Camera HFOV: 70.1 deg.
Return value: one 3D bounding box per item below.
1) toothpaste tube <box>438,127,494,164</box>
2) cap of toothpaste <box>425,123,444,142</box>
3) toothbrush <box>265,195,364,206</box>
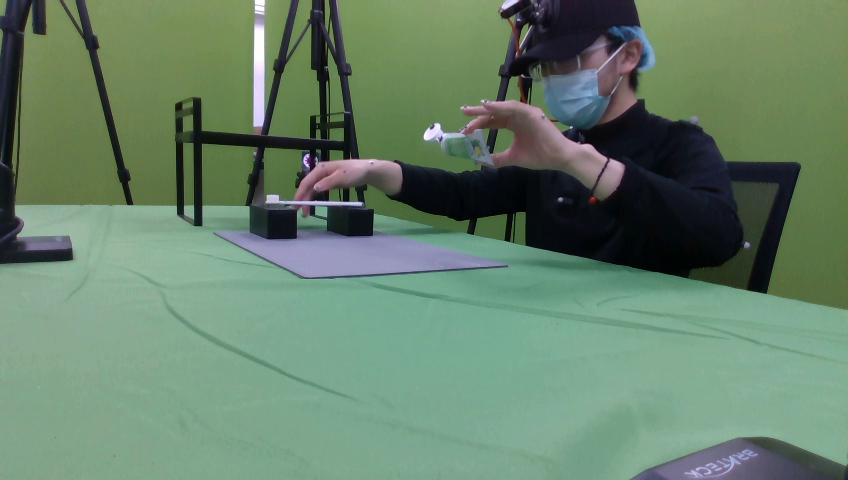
[{"bbox_3d":[0.061,-0.145,0.901,0.034,0.055,0.164,-32,20,-11],"label":"toothpaste tube"},{"bbox_3d":[0.017,-0.172,0.975,0.037,0.037,0.011,11,-21,49],"label":"cap of toothpaste"},{"bbox_3d":[-0.194,-0.070,1.089,0.183,0.016,0.014,0,1,-27],"label":"toothbrush"}]
